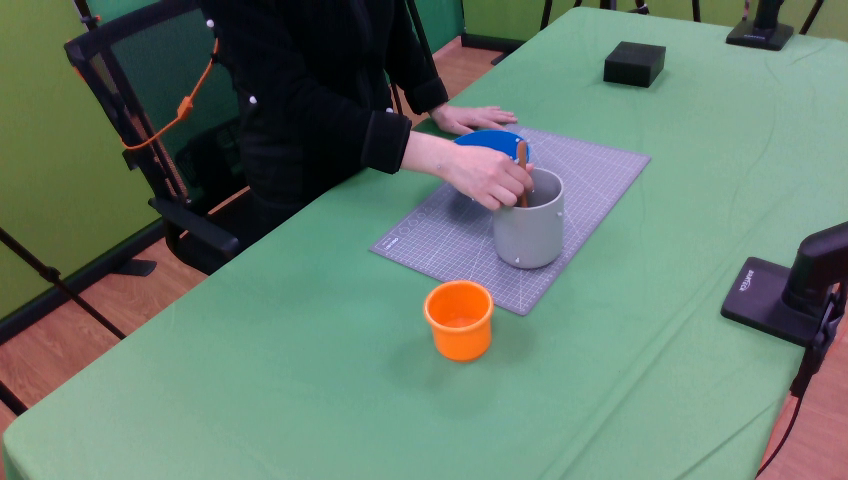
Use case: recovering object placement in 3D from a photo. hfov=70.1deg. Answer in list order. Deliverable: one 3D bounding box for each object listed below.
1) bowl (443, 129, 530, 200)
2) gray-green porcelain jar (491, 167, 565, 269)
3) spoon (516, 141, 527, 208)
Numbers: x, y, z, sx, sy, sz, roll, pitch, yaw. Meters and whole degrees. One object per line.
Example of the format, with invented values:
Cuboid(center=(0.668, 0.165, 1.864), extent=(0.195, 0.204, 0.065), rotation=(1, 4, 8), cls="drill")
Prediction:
Cuboid(center=(0.113, -0.123, 1.063), extent=(0.151, 0.077, 0.150), rotation=(-6, 40, 5), cls="bowl")
Cuboid(center=(0.157, -0.029, 0.904), extent=(0.106, 0.127, 0.105), rotation=(-6, 40, 5), cls="gray-green porcelain jar")
Cuboid(center=(0.141, -0.062, 0.865), extent=(0.041, 0.195, 0.021), rotation=(-3, 41, 10), cls="spoon")
